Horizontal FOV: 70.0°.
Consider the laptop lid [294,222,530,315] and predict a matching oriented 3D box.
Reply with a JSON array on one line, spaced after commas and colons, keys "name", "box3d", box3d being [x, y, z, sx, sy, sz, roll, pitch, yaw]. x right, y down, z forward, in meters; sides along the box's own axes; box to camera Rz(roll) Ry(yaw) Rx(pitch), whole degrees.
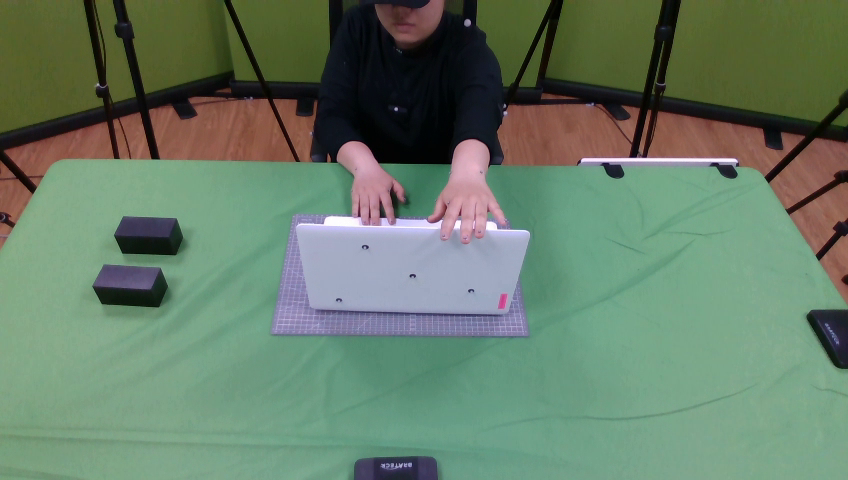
[{"name": "laptop lid", "box3d": [-0.021, 0.054, 0.978, 0.357, 0.243, 0.013, 3, 50, -4]}]

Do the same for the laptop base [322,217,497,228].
[{"name": "laptop base", "box3d": [-0.028, 0.045, 1.154, 0.354, 0.023, 0.234, 2, 42, -3]}]
